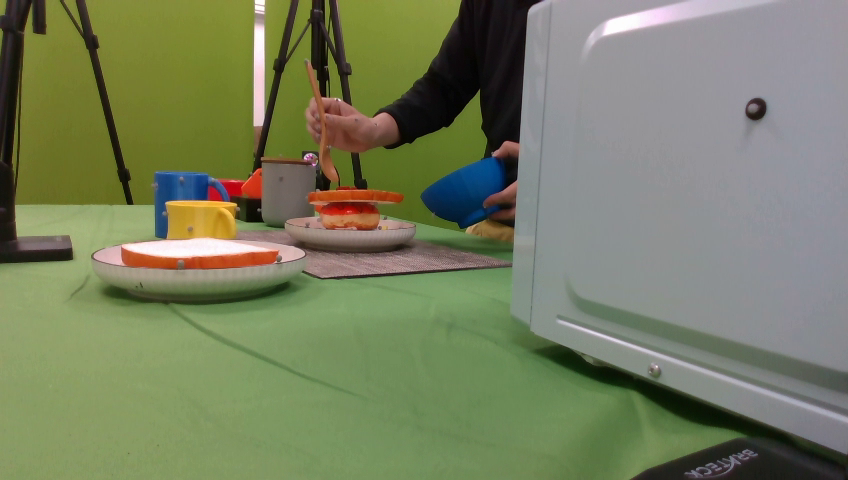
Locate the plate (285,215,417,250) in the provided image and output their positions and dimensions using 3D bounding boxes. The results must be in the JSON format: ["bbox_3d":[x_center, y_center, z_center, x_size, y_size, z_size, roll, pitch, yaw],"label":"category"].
[{"bbox_3d":[-0.116,-0.014,0.964,0.209,0.038,0.209,2,7,0],"label":"plate"}]

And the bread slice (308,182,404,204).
[{"bbox_3d":[-0.114,-0.073,0.953,0.134,0.018,0.107,-4,-3,22],"label":"bread slice"}]

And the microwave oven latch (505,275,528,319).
[{"bbox_3d":[0.100,0.042,0.471,0.079,0.029,0.030,-1,7,-28],"label":"microwave oven latch"}]

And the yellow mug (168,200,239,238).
[{"bbox_3d":[-0.320,-0.023,0.904,0.130,0.064,0.100,9,11,36],"label":"yellow mug"}]

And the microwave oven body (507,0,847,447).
[{"bbox_3d":[0.331,-0.042,0.425,0.444,0.260,0.324,-2,8,-31],"label":"microwave oven body"}]

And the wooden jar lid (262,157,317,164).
[{"bbox_3d":[-0.269,-0.154,1.208,0.108,0.020,0.108,3,4,0],"label":"wooden jar lid"}]

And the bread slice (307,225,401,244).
[{"bbox_3d":[-0.103,-0.009,0.962,0.131,0.019,0.105,1,8,25],"label":"bread slice"}]

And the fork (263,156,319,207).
[{"bbox_3d":[-0.331,-0.144,1.505,0.207,0.018,0.028,-42,-21,22],"label":"fork"}]

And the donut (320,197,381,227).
[{"bbox_3d":[-0.117,-0.042,0.965,0.099,0.048,0.099,-9,-7,-1],"label":"donut"}]

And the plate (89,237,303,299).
[{"bbox_3d":[-0.233,0.029,0.636,0.208,0.039,0.207,2,7,0],"label":"plate"}]

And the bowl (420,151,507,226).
[{"bbox_3d":[0.077,-0.074,0.988,0.151,0.076,0.151,-25,-7,-3],"label":"bowl"}]

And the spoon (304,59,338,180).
[{"bbox_3d":[-0.163,-0.190,0.956,0.021,0.193,0.042,-7,5,19],"label":"spoon"}]

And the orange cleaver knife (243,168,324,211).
[{"bbox_3d":[-0.300,-0.089,1.351,0.212,0.077,0.012,28,-9,-34],"label":"orange cleaver knife"}]

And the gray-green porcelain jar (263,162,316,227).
[{"bbox_3d":[-0.271,-0.092,1.217,0.106,0.126,0.106,2,7,0],"label":"gray-green porcelain jar"}]

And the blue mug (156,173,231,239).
[{"bbox_3d":[-0.381,-0.057,1.004,0.117,0.106,0.082,1,8,-12],"label":"blue mug"}]

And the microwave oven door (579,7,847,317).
[{"bbox_3d":[0.295,-0.067,0.570,0.358,0.243,0.039,-3,9,-31],"label":"microwave oven door"}]
